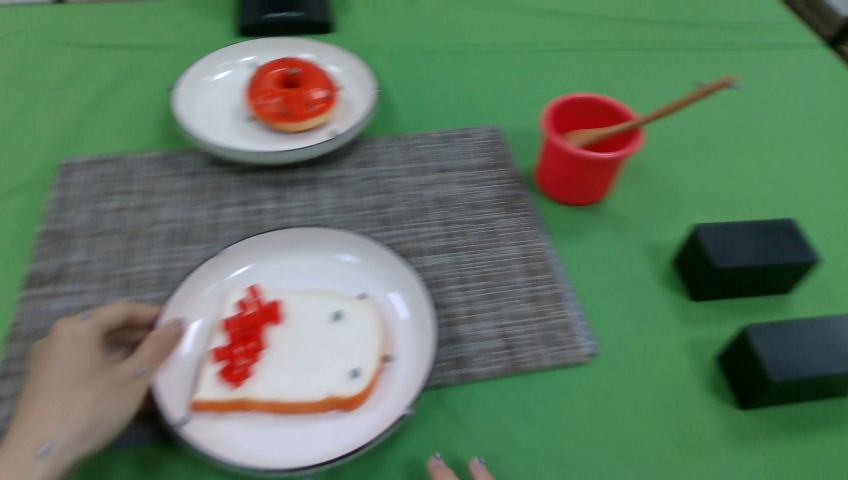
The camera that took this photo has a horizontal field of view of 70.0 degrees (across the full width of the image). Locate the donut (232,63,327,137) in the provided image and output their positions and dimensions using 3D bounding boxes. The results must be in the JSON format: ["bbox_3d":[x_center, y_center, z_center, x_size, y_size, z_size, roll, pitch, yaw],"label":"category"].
[{"bbox_3d":[-0.151,-0.148,0.640,0.099,0.048,0.098,4,50,-4],"label":"donut"}]

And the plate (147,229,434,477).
[{"bbox_3d":[-0.097,0.079,0.463,0.209,0.038,0.207,3,49,-3],"label":"plate"}]

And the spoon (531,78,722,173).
[{"bbox_3d":[0.185,-0.109,0.582,0.193,0.022,0.041,-19,36,31],"label":"spoon"}]

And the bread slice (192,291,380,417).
[{"bbox_3d":[-0.099,0.083,0.463,0.131,0.019,0.104,2,49,-2],"label":"bread slice"}]

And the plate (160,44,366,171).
[{"bbox_3d":[-0.167,-0.139,0.647,0.208,0.039,0.205,3,47,-3],"label":"plate"}]
